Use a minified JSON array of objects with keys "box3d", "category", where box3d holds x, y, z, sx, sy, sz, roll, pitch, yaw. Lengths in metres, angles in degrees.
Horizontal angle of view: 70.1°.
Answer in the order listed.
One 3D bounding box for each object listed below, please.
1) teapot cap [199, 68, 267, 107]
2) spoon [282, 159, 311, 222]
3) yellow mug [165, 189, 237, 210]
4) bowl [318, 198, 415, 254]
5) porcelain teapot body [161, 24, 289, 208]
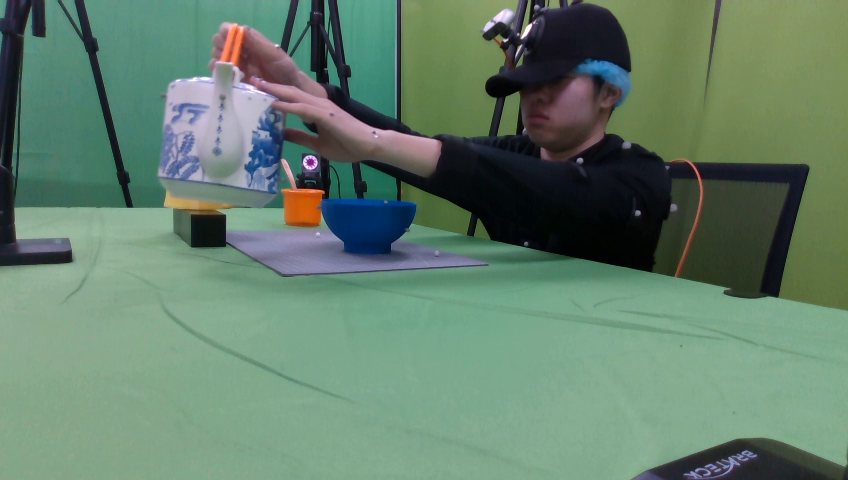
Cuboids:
[{"box3d":[-0.245,-0.198,0.781,0.085,0.044,0.085,10,4,0],"category":"teapot cap"},{"box3d":[-0.285,-0.111,1.320,0.042,0.193,0.021,-2,-36,-31],"category":"spoon"},{"box3d":[-0.370,-0.086,1.028,0.131,0.064,0.100,5,7,4],"category":"yellow mug"},{"box3d":[-0.089,-0.022,0.940,0.151,0.077,0.151,2,7,0],"category":"bowl"},{"box3d":[-0.243,-0.157,0.755,0.146,0.225,0.204,8,2,-18],"category":"porcelain teapot body"}]
